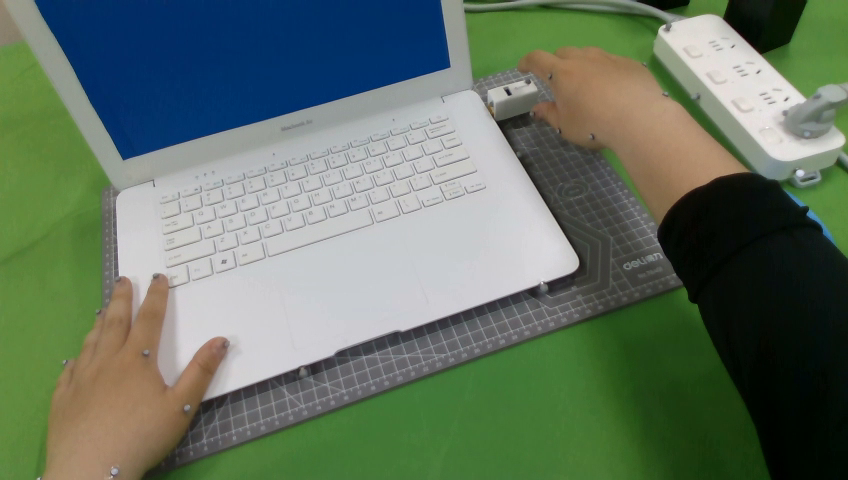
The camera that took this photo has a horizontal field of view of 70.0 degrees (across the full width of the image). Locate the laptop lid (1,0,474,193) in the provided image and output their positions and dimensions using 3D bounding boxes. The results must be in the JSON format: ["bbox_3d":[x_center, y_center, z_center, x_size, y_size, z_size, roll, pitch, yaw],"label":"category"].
[{"bbox_3d":[-0.135,-0.183,0.509,0.357,0.244,0.013,-19,41,-6],"label":"laptop lid"}]

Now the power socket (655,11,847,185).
[{"bbox_3d":[0.295,-0.141,0.565,0.072,0.033,0.224,-16,53,-5],"label":"power socket"}]

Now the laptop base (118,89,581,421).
[{"bbox_3d":[-0.077,-0.007,0.517,0.355,0.023,0.233,-18,56,-7],"label":"laptop base"}]

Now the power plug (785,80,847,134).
[{"bbox_3d":[0.341,-0.106,0.506,0.072,0.053,0.035,-7,55,1],"label":"power plug"}]

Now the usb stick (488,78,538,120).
[{"bbox_3d":[0.078,-0.133,0.578,0.059,0.027,0.021,-18,50,-5],"label":"usb stick"}]

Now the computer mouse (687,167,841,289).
[{"bbox_3d":[0.261,-0.016,0.471,0.063,0.041,0.116,-18,48,-5],"label":"computer mouse"}]
